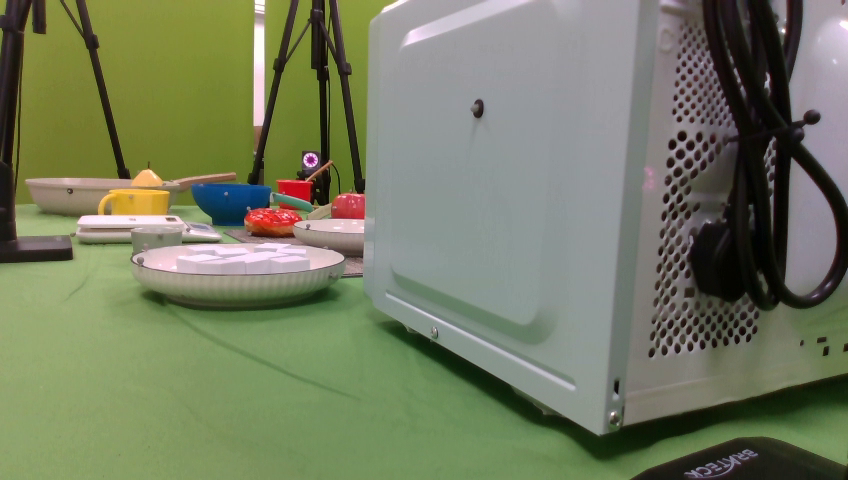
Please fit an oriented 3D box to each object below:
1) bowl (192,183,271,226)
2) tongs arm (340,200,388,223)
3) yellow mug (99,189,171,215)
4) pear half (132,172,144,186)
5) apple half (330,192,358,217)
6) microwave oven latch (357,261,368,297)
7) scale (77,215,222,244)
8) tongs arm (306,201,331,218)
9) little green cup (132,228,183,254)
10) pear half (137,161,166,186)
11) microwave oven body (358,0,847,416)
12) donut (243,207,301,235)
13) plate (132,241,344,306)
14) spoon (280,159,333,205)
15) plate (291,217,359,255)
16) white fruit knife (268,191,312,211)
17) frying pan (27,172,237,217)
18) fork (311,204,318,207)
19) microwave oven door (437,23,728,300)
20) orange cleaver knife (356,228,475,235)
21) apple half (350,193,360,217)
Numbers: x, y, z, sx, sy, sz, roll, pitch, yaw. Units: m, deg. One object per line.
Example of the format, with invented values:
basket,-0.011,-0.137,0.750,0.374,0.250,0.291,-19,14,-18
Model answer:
bowl,-0.382,-0.071,1.202,0.151,0.077,0.151,3,7,0
tongs arm,-0.149,-0.070,1.429,0.051,0.026,0.383,-3,8,-15
yellow mug,-0.518,-0.055,1.080,0.099,0.064,0.131,7,9,26
pear half,-0.638,-0.113,1.361,0.031,0.088,0.070,5,11,4
apple half,-0.149,-0.055,1.142,0.053,0.074,0.081,1,10,14
microwave oven latch,-0.019,0.033,0.531,0.079,0.029,0.030,-1,7,-27
scale,-0.434,-0.019,0.963,0.202,0.031,0.148,-1,9,-27
tongs arm,-0.234,-0.069,1.414,0.028,0.028,0.387,-4,7,0
little green cup,-0.342,0.006,0.779,0.061,0.038,0.061,2,8,0
pear half,-0.602,-0.120,1.354,0.056,0.110,0.076,4,11,6
microwave oven body,0.211,-0.047,0.475,0.444,0.260,0.324,-1,7,-28
donut,-0.261,-0.032,1.043,0.099,0.048,0.099,4,9,0
plate,-0.187,0.033,0.625,0.208,0.039,0.207,2,8,0
spoon,-0.317,-0.159,1.640,0.194,0.022,0.041,-49,32,-20
plate,-0.098,-0.007,0.928,0.209,0.038,0.209,3,8,0
white fruit knife,-0.364,-0.105,1.464,0.208,0.027,0.016,15,0,-34
frying pan,-0.624,-0.118,1.387,0.305,0.102,0.490,8,17,32
fork,-0.356,-0.105,1.526,0.208,0.018,0.028,16,-5,-41
microwave oven door,0.180,-0.072,0.621,0.358,0.243,0.039,-2,9,-29
orange cleaver knife,-0.017,-0.015,1.082,0.212,0.012,0.077,1,0,-4
apple half,-0.112,-0.053,1.133,0.033,0.081,0.081,1,7,14
